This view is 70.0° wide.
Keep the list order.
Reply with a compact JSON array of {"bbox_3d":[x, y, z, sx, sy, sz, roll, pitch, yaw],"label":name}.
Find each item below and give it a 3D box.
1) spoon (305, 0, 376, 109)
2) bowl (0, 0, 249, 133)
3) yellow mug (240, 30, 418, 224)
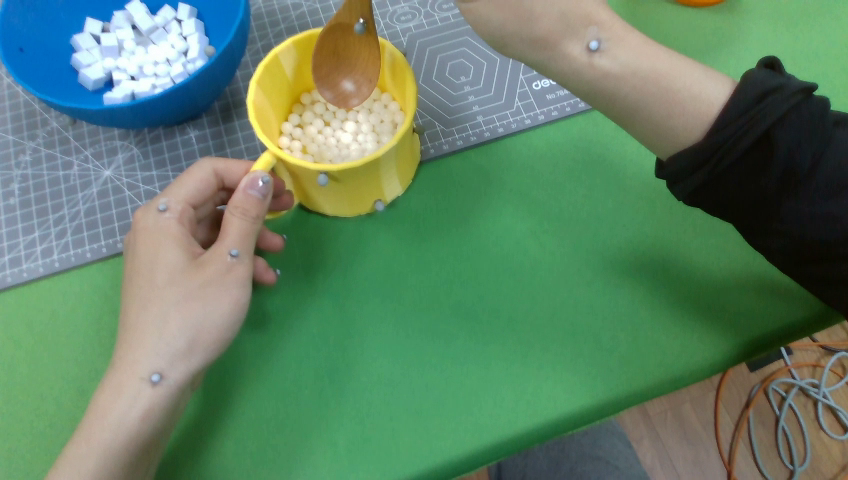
[{"bbox_3d":[-0.028,-0.141,0.299,0.042,0.194,0.021,21,53,-6],"label":"spoon"},{"bbox_3d":[-0.182,-0.125,0.397,0.151,0.077,0.150,0,69,1],"label":"bowl"},{"bbox_3d":[-0.064,-0.060,0.377,0.099,0.064,0.130,37,74,14],"label":"yellow mug"}]
